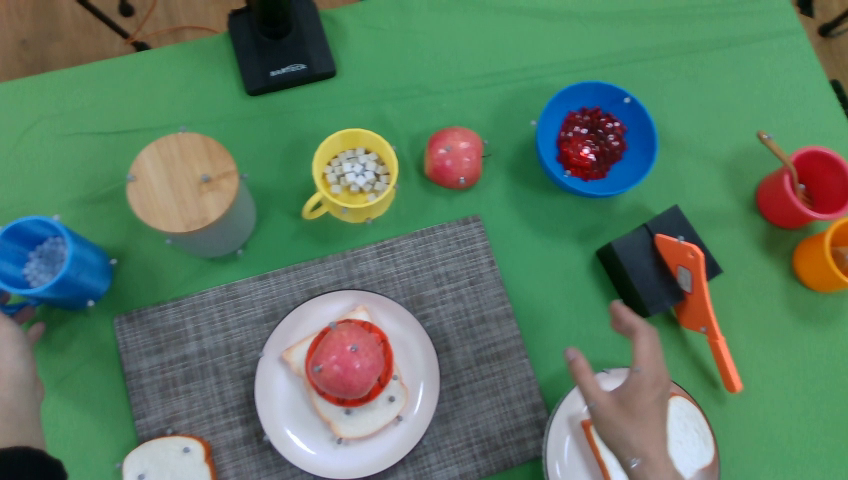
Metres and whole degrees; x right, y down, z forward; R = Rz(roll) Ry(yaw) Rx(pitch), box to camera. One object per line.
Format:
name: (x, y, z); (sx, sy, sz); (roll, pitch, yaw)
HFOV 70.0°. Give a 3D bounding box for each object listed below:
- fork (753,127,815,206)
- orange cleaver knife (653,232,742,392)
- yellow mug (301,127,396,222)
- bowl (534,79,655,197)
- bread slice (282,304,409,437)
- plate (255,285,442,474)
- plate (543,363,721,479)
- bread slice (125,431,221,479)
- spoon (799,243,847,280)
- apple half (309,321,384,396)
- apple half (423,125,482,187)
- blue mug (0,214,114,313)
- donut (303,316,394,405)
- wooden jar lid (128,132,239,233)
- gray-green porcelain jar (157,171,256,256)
fork: (0.450, -0.089, 0.750); (0.209, 0.018, 0.028); (27, 68, -41)
orange cleaver knife: (0.328, 0.086, 0.730); (0.012, 0.077, 0.212); (-27, 102, -18)
yellow mug: (-0.096, -0.069, 0.734); (0.131, 0.064, 0.099); (-40, 83, -13)
bowl: (0.205, -0.118, 0.770); (0.151, 0.077, 0.150); (1, 77, -5)
bread slice: (-0.081, 0.154, 0.694); (0.107, 0.018, 0.134); (-34, 80, -12)
plate: (-0.084, 0.156, 0.691); (0.208, 0.039, 0.206); (1, 76, -5)
plate: (0.237, 0.250, 0.704); (0.209, 0.038, 0.208); (1, 76, -5)
bread slice: (-0.274, 0.276, 0.654); (0.105, 0.019, 0.131); (-9, 78, -8)
spoon: (0.562, -0.003, 0.741); (0.022, 0.193, 0.041); (-8, 70, -54)
apple half: (-0.081, 0.126, 0.633); (0.081, 0.033, 0.081); (0, 80, 0)
apple half: (0.037, -0.112, 0.765); (0.075, 0.053, 0.080); (5, 76, -2)
blue mug: (-0.413, 0.037, 0.656); (0.116, 0.106, 0.082); (-43, 83, -13)
donut: (-0.082, 0.132, 0.667); (0.099, 0.048, 0.098); (1, 76, -5)
wooden jar lid: (-0.244, -0.057, 0.621); (0.108, 0.021, 0.108); (1, 74, -4)
gray-green porcelain jar: (-0.249, -0.041, 0.681); (0.106, 0.127, 0.105); (1, 75, -5)
